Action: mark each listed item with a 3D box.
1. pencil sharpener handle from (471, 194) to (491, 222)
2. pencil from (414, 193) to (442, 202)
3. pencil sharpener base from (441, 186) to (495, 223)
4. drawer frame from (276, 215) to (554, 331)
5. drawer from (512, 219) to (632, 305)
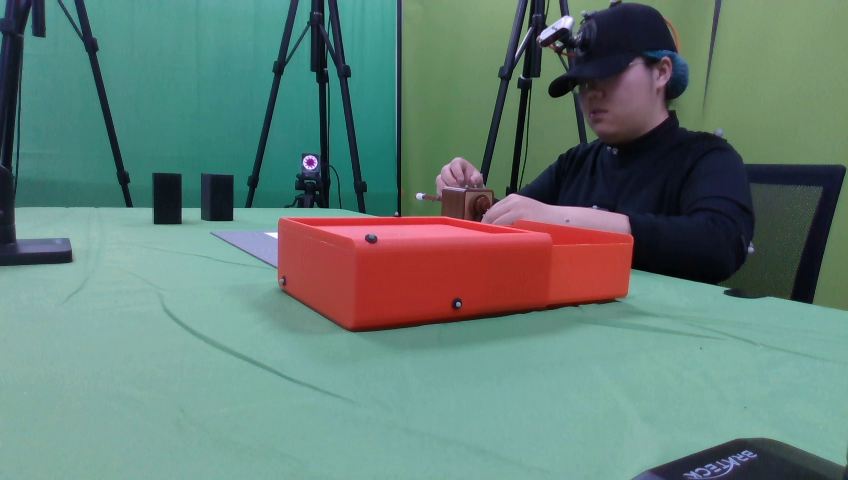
[{"bbox_3d":[0.095,-0.038,0.945,0.036,0.067,0.030,6,5,-31],"label":"pencil sharpener handle"},{"bbox_3d":[0.033,-0.070,1.057,0.012,0.012,0.193,-1,8,-30],"label":"pencil"},{"bbox_3d":[0.070,-0.033,0.991,0.062,0.107,0.076,-1,9,-30],"label":"pencil sharpener base"},{"bbox_3d":[-0.015,0.022,0.610,0.215,0.082,0.200,-2,9,-32],"label":"drawer frame"},{"bbox_3d":[0.085,0.021,0.674,0.213,0.073,0.193,-2,9,-32],"label":"drawer"}]
